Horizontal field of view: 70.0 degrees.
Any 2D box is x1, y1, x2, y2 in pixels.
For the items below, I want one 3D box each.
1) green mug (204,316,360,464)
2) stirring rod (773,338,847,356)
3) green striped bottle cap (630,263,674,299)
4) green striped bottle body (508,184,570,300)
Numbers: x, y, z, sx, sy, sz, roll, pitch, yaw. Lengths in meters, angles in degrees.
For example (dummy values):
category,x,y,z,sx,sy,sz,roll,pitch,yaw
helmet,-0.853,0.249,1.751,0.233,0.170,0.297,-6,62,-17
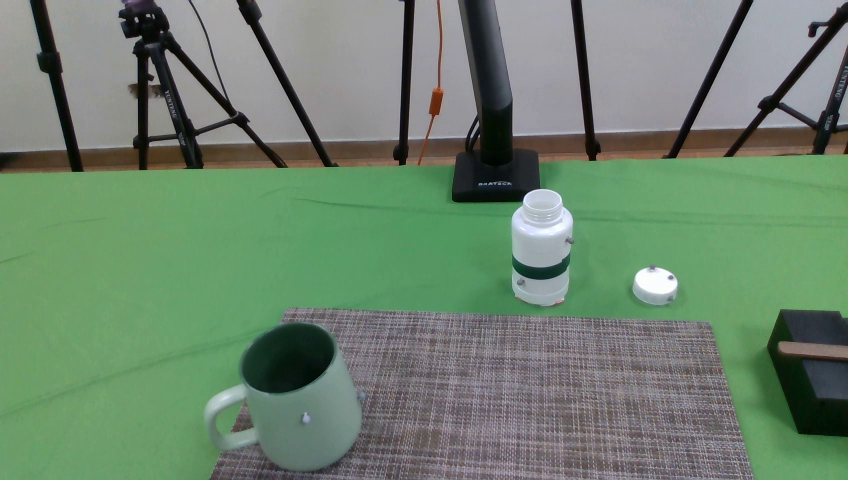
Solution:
category,x,y,z,sx,sy,sz,roll,pitch,yaw
green mug,-0.121,0.135,0.515,0.125,0.106,0.091,-20,41,-16
stirring rod,0.386,0.092,0.501,0.176,0.006,0.014,2,40,11
green striped bottle cap,0.245,0.044,0.652,0.044,0.020,0.044,-4,35,3
green striped bottle body,0.121,0.001,0.641,0.063,0.120,0.062,-4,39,4
